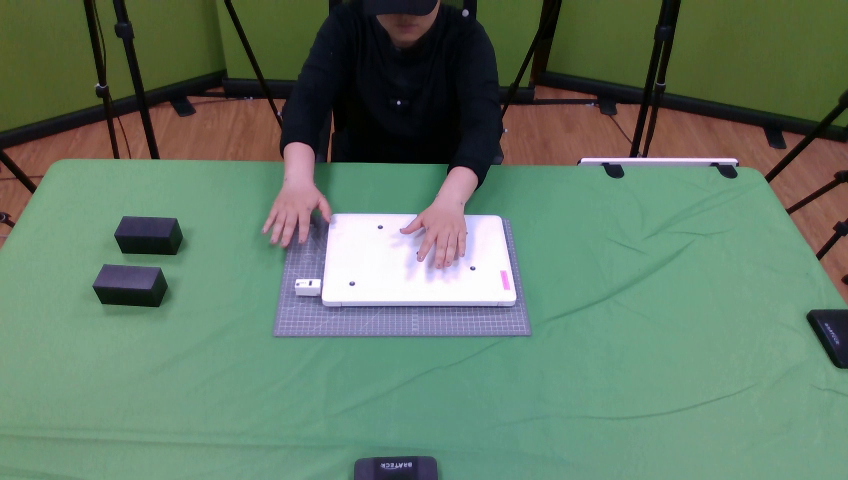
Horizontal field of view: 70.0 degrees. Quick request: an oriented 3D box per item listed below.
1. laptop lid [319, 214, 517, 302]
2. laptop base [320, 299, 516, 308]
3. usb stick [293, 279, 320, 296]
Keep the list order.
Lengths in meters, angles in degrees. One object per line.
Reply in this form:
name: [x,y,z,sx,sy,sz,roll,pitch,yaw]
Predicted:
laptop lid: [-0.012,0.029,1.154,0.357,0.013,0.240,2,44,-3]
laptop base: [-0.013,0.039,1.160,0.355,0.023,0.234,0,43,-4]
usb stick: [-0.202,0.086,1.083,0.059,0.027,0.021,3,46,-5]
